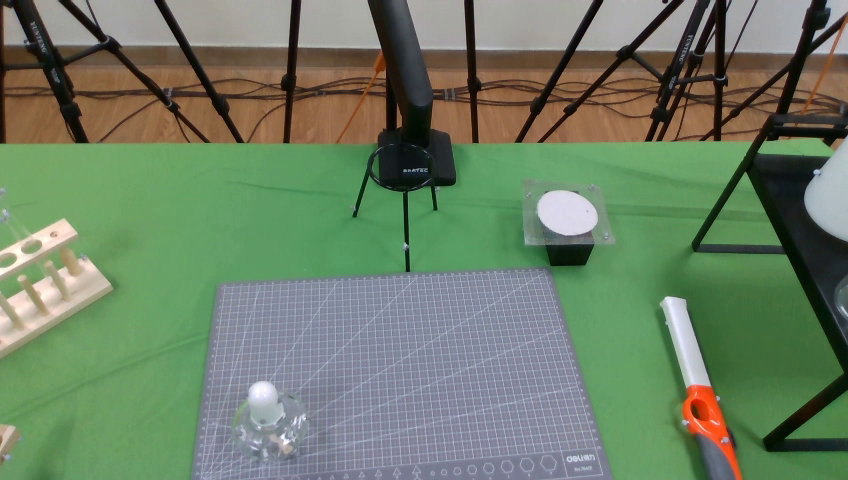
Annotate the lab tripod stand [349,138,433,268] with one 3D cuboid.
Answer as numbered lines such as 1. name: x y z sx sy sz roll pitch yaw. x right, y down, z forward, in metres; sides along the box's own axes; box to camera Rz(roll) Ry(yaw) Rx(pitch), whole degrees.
1. lab tripod stand: -0.036 -0.057 0.824 0.148 0.132 0.147 4 51 -4

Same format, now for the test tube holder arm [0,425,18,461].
1. test tube holder arm: -0.425 0.253 0.547 0.013 0.015 0.177 3 50 9

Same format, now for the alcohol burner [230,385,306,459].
1. alcohol burner: -0.163 0.179 0.627 0.078 0.120 0.077 4 49 -4

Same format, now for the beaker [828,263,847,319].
1. beaker: 0.447 0.033 0.581 0.084 0.101 0.073 14 51 7

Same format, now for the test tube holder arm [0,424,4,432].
1. test tube holder arm: -0.424 0.219 0.576 0.010 0.015 0.087 3 50 9

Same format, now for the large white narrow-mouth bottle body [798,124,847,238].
1. large white narrow-mouth bottle body: 0.486 -0.095 0.627 0.102 0.196 0.101 3 51 -3

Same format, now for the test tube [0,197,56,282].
1. test tube: -0.467 0.000 0.704 0.017 0.151 0.017 1 49 0

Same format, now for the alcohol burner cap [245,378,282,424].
1. alcohol burner cap: -0.160 0.157 0.599 0.034 0.048 0.033 1 45 -1

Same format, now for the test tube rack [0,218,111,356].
1. test tube rack: -0.505 0.081 0.698 0.066 0.086 0.242 38 57 23

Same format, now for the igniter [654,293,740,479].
1. igniter: 0.326 0.182 0.729 0.057 0.025 0.274 9 49 -11

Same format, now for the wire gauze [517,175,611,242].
1. wire gauze: 0.193 -0.044 0.851 0.121 0.011 0.124 4 50 -2
